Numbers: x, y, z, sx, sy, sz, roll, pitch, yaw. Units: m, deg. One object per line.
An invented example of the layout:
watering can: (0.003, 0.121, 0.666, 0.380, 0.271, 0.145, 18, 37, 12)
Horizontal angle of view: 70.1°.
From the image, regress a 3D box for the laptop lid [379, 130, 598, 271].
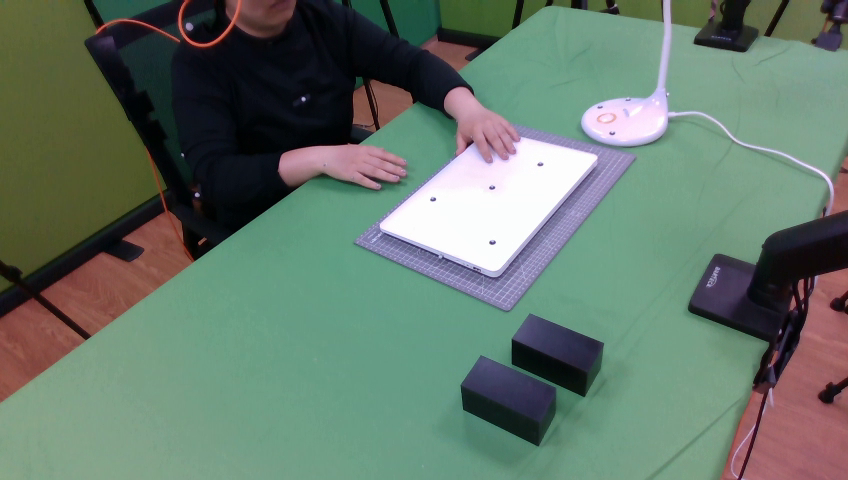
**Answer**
laptop lid: (0.117, -0.087, 1.037, 0.240, 0.013, 0.358, 22, 48, 33)

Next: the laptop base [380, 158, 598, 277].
laptop base: (0.120, -0.077, 1.043, 0.233, 0.023, 0.355, 19, 47, 33)

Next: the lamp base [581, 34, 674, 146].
lamp base: (0.392, -0.291, 1.129, 0.180, 0.181, 0.159, -11, 41, -8)
